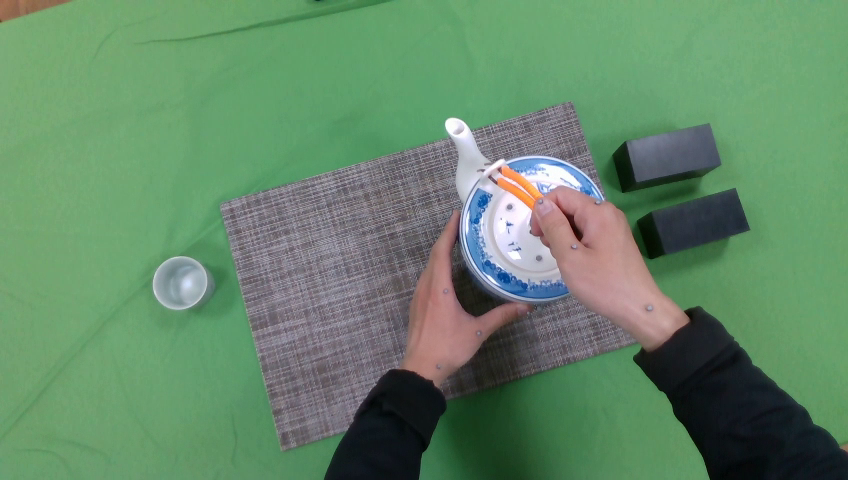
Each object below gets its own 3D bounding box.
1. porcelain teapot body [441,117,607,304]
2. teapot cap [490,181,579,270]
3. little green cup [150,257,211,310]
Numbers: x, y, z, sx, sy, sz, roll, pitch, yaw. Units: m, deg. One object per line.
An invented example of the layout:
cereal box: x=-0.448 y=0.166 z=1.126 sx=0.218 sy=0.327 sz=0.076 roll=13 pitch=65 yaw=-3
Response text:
porcelain teapot body: x=0.083 y=-0.031 z=0.603 sx=0.145 sy=0.226 sz=0.205 roll=-42 pitch=85 yaw=-3
teapot cap: x=0.103 y=-0.015 z=0.562 sx=0.085 sy=0.044 sz=0.085 roll=0 pitch=82 yaw=0
little green cup: x=-0.280 y=0.052 z=0.704 sx=0.061 sy=0.039 sz=0.061 roll=0 pitch=81 yaw=1
